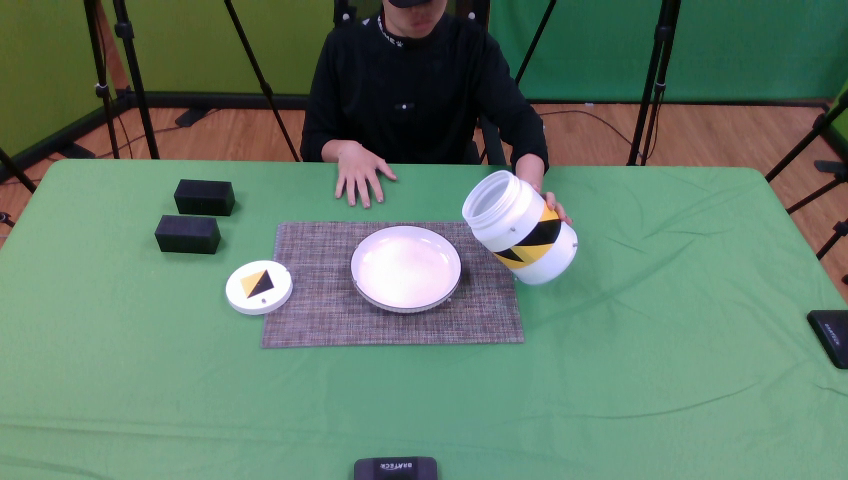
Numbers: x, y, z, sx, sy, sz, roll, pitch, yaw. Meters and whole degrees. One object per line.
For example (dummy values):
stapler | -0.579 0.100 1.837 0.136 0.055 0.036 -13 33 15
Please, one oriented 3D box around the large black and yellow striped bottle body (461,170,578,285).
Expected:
large black and yellow striped bottle body | 0.165 -0.023 1.052 0.185 0.131 0.130 41 41 -24

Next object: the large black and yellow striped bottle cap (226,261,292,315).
large black and yellow striped bottle cap | -0.298 0.085 1.092 0.115 0.019 0.114 0 45 1

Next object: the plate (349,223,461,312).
plate | -0.035 0.054 1.126 0.208 0.039 0.206 2 46 -2
